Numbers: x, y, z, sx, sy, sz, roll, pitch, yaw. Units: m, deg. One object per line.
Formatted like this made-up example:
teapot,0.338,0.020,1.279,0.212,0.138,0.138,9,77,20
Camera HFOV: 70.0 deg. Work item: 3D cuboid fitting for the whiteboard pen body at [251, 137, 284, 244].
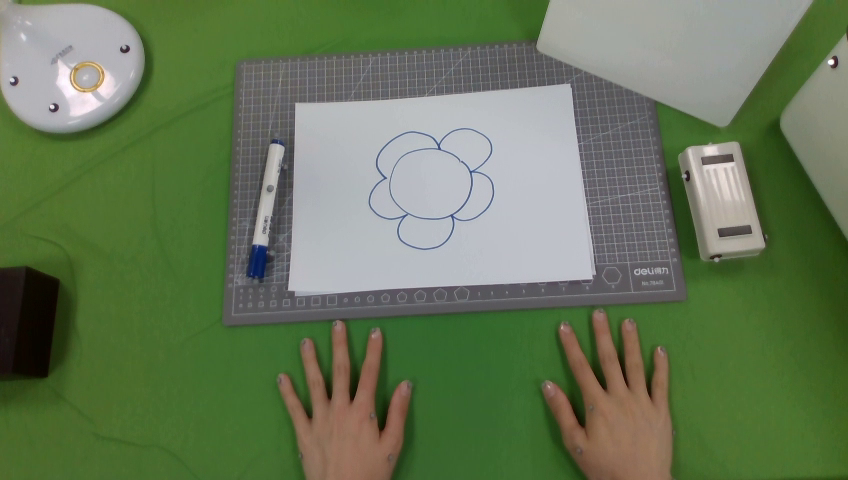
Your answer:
whiteboard pen body,-0.161,-0.038,0.617,0.017,0.017,0.140,5,76,5

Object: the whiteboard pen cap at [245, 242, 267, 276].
whiteboard pen cap,-0.166,0.019,0.603,0.018,0.018,0.033,4,75,5

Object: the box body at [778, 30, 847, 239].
box body,0.519,-0.044,0.512,0.254,0.161,0.361,-21,73,-3

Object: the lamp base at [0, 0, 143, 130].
lamp base,-0.410,-0.224,0.607,0.178,0.181,0.160,29,76,14

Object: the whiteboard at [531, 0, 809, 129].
whiteboard,0.261,-0.295,0.559,0.216,0.308,0.143,27,56,11

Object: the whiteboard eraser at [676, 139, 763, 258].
whiteboard eraser,0.284,-0.040,0.587,0.055,0.042,0.112,-6,73,0

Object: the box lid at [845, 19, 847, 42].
box lid,0.514,-0.069,0.442,0.263,0.015,0.369,-21,73,-3
